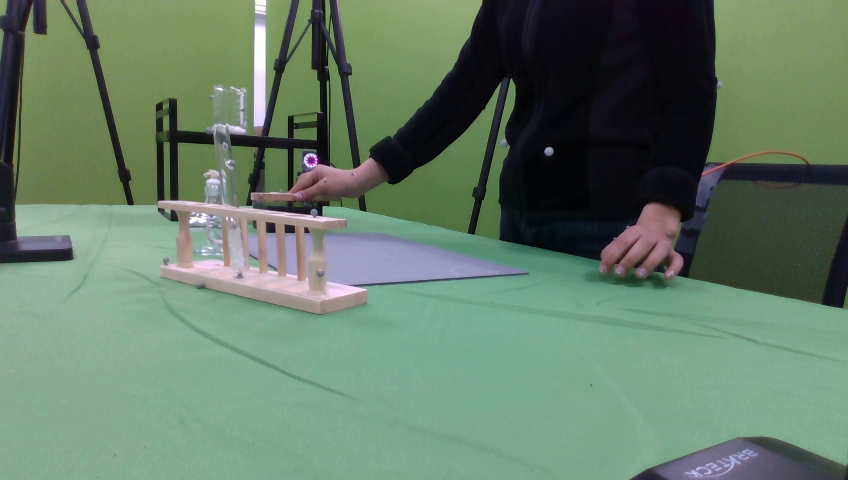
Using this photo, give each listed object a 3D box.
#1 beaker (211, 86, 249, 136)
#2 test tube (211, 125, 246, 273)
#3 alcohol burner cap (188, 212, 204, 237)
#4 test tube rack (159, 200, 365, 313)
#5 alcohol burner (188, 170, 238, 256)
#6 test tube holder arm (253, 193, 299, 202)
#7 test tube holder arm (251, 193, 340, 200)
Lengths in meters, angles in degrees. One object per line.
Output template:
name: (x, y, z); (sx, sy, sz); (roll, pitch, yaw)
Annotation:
beaker: (-0.413, -0.274, 1.297); (0.074, 0.100, 0.083); (-5, 11, -44)
test tube: (-0.198, -0.041, 0.614); (0.017, 0.150, 0.017); (-5, 7, 1)
alcohol burner cap: (-0.389, -0.029, 1.026); (0.034, 0.048, 0.034); (2, 9, 0)
test tube rack: (-0.173, 0.009, 0.624); (0.241, 0.085, 0.067); (7, 9, 34)
alcohol burner: (-0.296, -0.038, 0.851); (0.078, 0.119, 0.078); (2, 5, 0)
test tube holder arm: (-0.276, -0.079, 1.129); (0.088, 0.015, 0.010); (-3, 20, -36)
test tube holder arm: (-0.243, -0.083, 1.160); (0.179, 0.015, 0.013); (-3, 20, -38)
